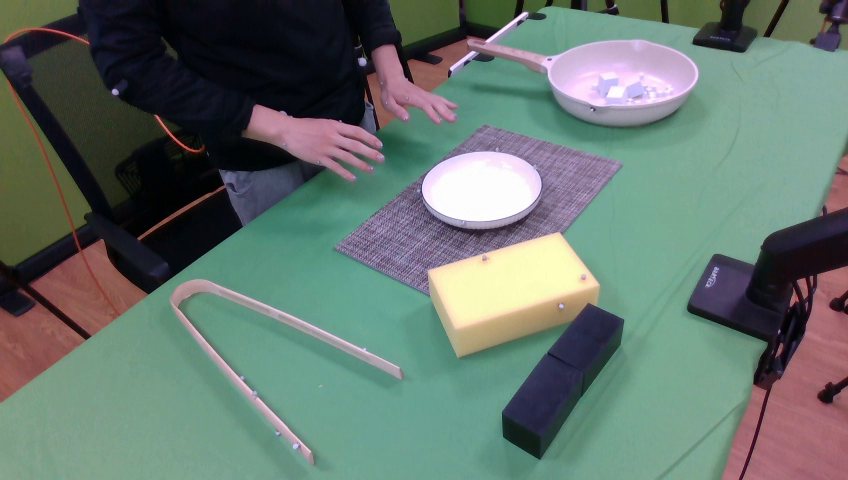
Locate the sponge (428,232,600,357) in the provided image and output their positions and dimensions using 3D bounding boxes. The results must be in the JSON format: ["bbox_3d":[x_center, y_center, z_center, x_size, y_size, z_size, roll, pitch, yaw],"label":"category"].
[{"bbox_3d":[0.120,0.071,0.834,0.207,0.061,0.117,-16,43,-12],"label":"sponge"}]

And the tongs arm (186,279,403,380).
[{"bbox_3d":[-0.193,0.120,0.854,0.385,0.028,0.028,18,48,27],"label":"tongs arm"}]

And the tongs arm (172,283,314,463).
[{"bbox_3d":[-0.246,0.161,0.806,0.381,0.026,0.051,29,51,36],"label":"tongs arm"}]

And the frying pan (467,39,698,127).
[{"bbox_3d":[0.312,-0.359,1.277,0.485,0.103,0.307,23,48,19],"label":"frying pan"}]

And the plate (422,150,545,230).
[{"bbox_3d":[0.101,-0.082,1.031,0.207,0.039,0.206,-4,40,4],"label":"plate"}]
